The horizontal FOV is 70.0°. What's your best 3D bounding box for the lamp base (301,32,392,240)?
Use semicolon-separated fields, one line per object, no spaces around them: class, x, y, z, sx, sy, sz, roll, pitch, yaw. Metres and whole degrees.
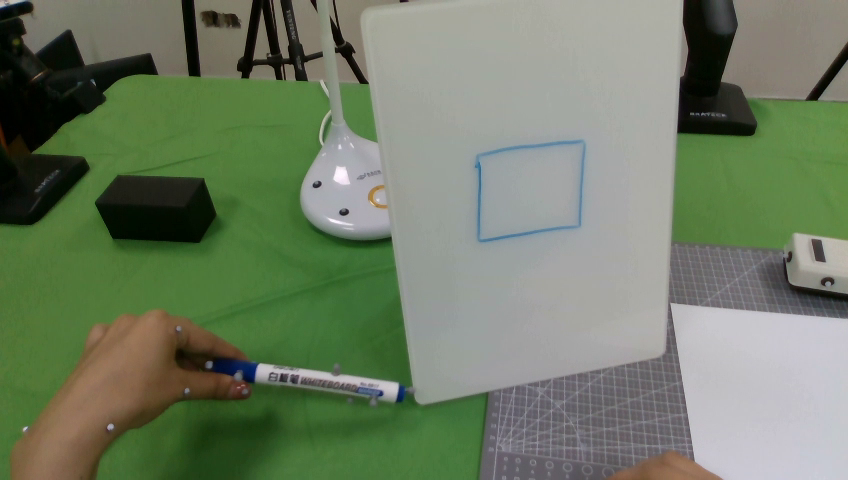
lamp base;-0.072;-0.118;0.649;0.161;0.182;0.177;-29;45;-26

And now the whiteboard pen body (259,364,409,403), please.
whiteboard pen body;-0.081;0.109;0.467;0.141;0.017;0.017;9;41;-6

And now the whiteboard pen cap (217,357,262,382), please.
whiteboard pen cap;-0.138;0.099;0.460;0.033;0.018;0.018;6;41;-7

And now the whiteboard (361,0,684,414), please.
whiteboard;0.074;-0.043;0.504;0.217;0.307;0.142;-10;23;-6

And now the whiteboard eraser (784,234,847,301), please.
whiteboard eraser;0.393;0.030;0.552;0.112;0.042;0.055;10;42;14
